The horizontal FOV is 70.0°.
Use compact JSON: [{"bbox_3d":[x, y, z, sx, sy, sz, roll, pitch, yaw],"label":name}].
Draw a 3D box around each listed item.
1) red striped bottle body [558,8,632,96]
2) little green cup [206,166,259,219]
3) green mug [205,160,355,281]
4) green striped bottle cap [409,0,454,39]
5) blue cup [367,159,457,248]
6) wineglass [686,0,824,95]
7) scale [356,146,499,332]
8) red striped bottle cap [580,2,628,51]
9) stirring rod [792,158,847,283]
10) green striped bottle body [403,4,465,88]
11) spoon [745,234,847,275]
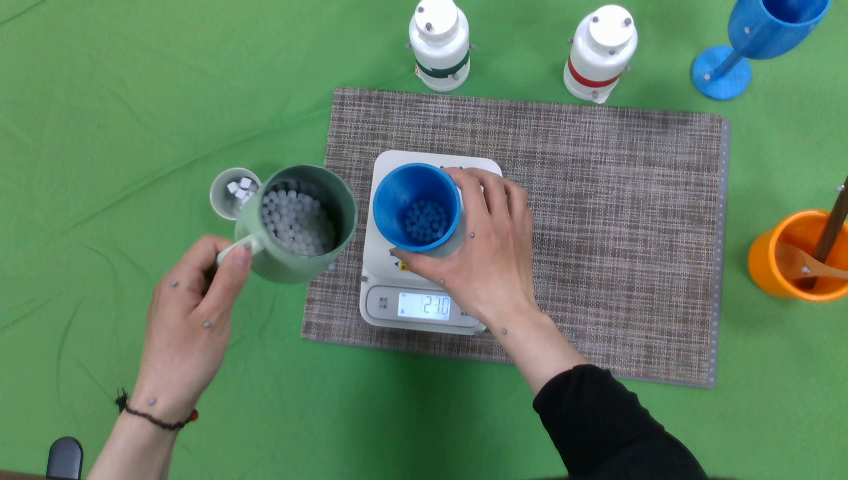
[{"bbox_3d":[0.181,-0.204,0.646,0.063,0.120,0.063,-1,83,5],"label":"red striped bottle body"},{"bbox_3d":[-0.215,-0.052,0.702,0.061,0.039,0.061,0,84,4],"label":"little green cup"},{"bbox_3d":[-0.125,-0.007,0.511,0.125,0.105,0.092,-35,95,-27],"label":"green mug"},{"bbox_3d":[0.007,-0.226,0.607,0.044,0.020,0.044,-1,83,6],"label":"green striped bottle cap"},{"bbox_3d":[-0.007,-0.030,0.617,0.092,0.100,0.092,0,85,4],"label":"blue cup"},{"bbox_3d":[0.324,-0.207,0.608,0.073,0.173,0.073,-1,83,6],"label":"wineglass"},{"bbox_3d":[0.004,-0.002,0.678,0.148,0.031,0.200,5,84,6],"label":"scale"},{"bbox_3d":[0.176,-0.210,0.593,0.044,0.018,0.044,-1,80,5],"label":"red striped bottle cap"},{"bbox_3d":[0.396,-0.023,0.592,0.014,0.178,0.006,14,44,21],"label":"stirring rod"},{"bbox_3d":[0.012,-0.217,0.662,0.063,0.119,0.063,-1,83,5],"label":"green striped bottle body"},{"bbox_3d":[0.409,0.031,0.585,0.022,0.192,0.041,18,92,-36],"label":"spoon"}]
